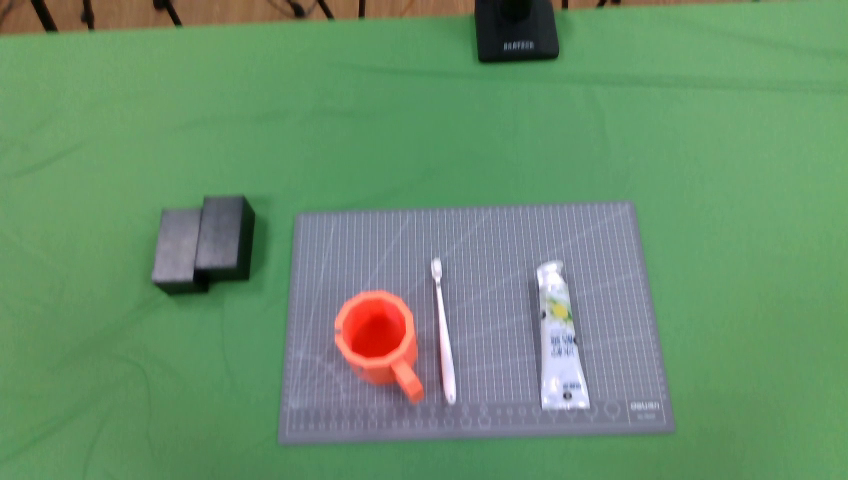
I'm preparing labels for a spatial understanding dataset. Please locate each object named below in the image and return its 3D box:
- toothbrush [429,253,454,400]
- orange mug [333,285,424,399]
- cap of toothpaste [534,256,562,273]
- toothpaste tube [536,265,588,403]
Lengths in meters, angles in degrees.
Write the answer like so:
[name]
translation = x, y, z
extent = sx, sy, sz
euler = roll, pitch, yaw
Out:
[toothbrush]
translation = 0.022, 0.100, 0.732
extent = 0.014, 0.017, 0.180
euler = 0, 68, -14
[orange mug]
translation = -0.043, 0.120, 0.681
extent = 0.083, 0.101, 0.125
euler = -34, 65, -12
[cap of toothpaste]
translation = 0.154, 0.032, 0.746
extent = 0.037, 0.037, 0.011
euler = -13, 64, -4
[toothpaste tube]
translation = 0.156, 0.109, 0.720
extent = 0.055, 0.035, 0.164
euler = -5, 70, 7
